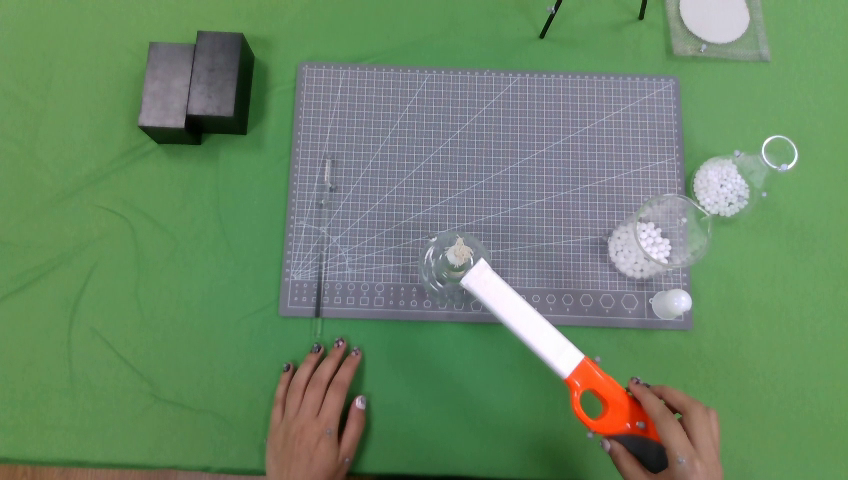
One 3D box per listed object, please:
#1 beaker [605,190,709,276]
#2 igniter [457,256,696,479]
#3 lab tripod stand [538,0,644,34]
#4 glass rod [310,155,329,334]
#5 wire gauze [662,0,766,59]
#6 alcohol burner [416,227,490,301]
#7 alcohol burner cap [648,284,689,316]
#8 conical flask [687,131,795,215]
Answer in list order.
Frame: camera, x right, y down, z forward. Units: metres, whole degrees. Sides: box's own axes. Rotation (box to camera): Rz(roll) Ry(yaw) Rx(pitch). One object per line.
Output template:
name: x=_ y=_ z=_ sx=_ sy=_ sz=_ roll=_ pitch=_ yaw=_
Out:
beaker: x=0.238 y=-0.004 z=0.630 sx=0.084 sy=0.100 sz=0.073 roll=-22 pitch=80 yaw=-5
igniter: x=0.139 y=0.120 z=0.545 sx=0.276 sy=0.025 sz=0.057 roll=44 pitch=77 yaw=3
lab tripod stand: x=0.193 y=-0.307 z=0.675 sx=0.148 sy=0.132 sz=0.148 roll=0 pitch=80 yaw=-1
glass rod: x=-0.115 y=0.003 z=0.668 sx=0.008 sy=0.008 sz=0.199 roll=3 pitch=82 yaw=-1
wire gauze: x=0.352 y=-0.280 z=0.737 sx=0.125 sy=0.011 sz=0.121 roll=1 pitch=79 yaw=-3
alcohol burner: x=0.030 y=0.021 z=0.614 sx=0.078 sy=0.119 sz=0.077 roll=0 pitch=77 yaw=1
alcohol burner cap: x=0.264 y=0.062 z=0.647 sx=0.034 sy=0.048 sz=0.033 roll=0 pitch=78 yaw=-1
conical flask: x=0.337 y=-0.075 z=0.638 sx=0.075 sy=0.122 sz=0.075 roll=0 pitch=78 yaw=0
